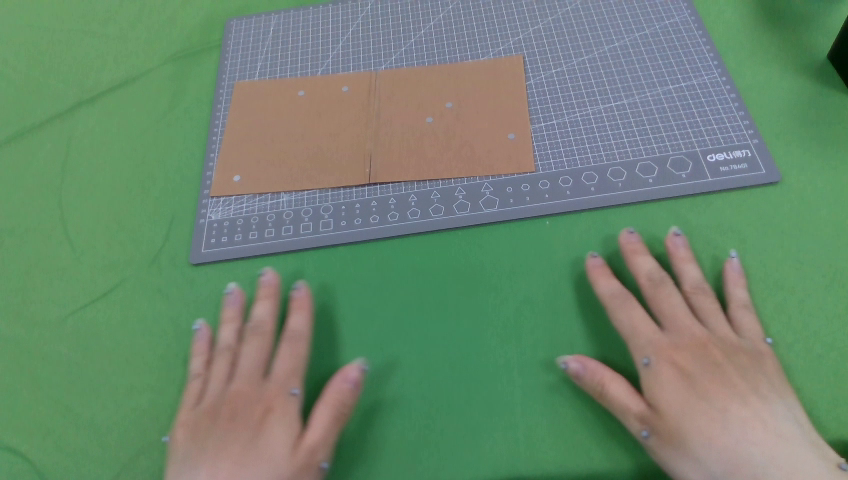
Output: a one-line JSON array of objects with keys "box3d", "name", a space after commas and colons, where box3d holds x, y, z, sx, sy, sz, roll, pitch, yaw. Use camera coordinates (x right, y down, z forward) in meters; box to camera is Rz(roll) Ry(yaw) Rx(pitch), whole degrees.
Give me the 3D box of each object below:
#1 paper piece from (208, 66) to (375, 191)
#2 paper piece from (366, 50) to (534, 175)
[{"box3d": [-0.112, -0.101, 0.528, 0.138, 0.009, 0.134, -4, 54, 7], "name": "paper piece"}, {"box3d": [0.021, -0.111, 0.515, 0.135, 0.004, 0.134, -3, 57, 6], "name": "paper piece"}]
